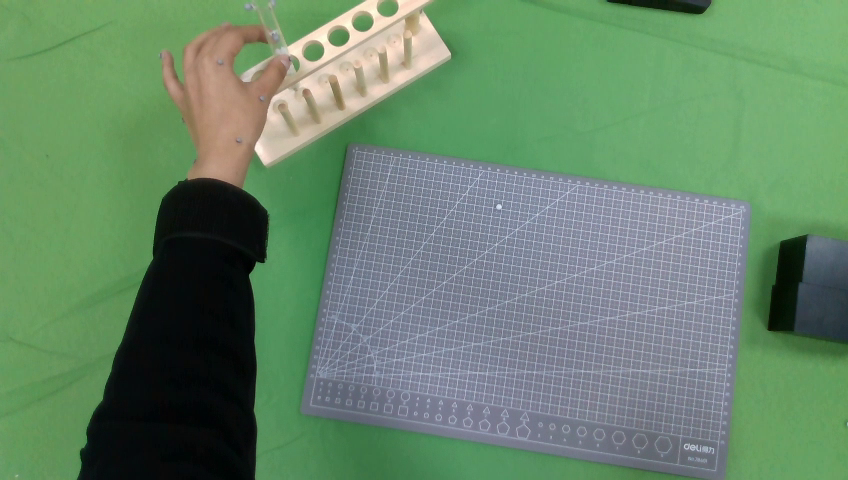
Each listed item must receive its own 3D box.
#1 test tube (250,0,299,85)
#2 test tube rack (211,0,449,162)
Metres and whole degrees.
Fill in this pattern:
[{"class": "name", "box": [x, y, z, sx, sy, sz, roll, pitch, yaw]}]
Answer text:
[{"class": "test tube", "box": [-0.138, -0.185, 0.571, 0.017, 0.151, 0.017, 0, 77, -1]}, {"class": "test tube rack", "box": [-0.092, -0.182, 0.644, 0.242, 0.085, 0.066, -32, 83, -3]}]
